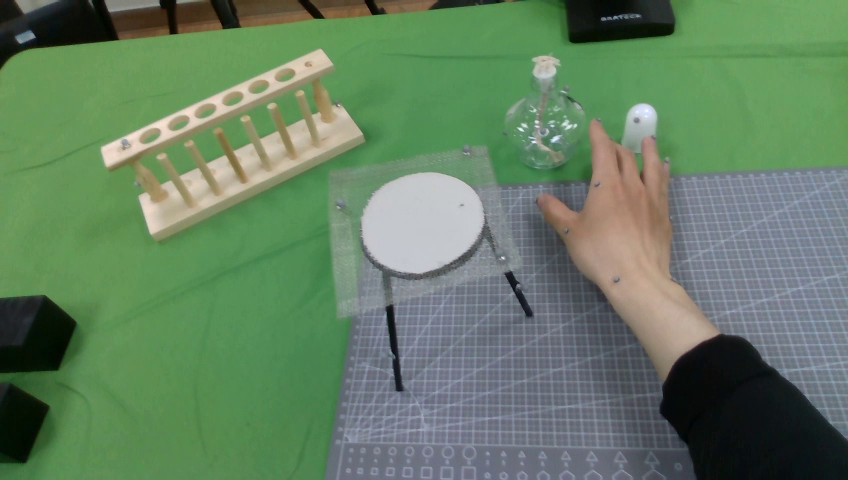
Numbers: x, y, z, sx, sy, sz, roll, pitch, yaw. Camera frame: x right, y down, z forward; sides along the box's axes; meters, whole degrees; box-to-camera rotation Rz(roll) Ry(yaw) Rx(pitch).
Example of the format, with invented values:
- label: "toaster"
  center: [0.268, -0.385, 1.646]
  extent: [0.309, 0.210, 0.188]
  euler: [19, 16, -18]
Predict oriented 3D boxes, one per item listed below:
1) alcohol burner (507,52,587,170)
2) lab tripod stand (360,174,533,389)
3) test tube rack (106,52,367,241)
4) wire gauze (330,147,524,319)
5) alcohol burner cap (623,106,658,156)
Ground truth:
- label: "alcohol burner"
  center: [0.117, -0.125, 0.578]
  extent: [0.078, 0.120, 0.077]
  euler: [-5, 50, 7]
- label: "lab tripod stand"
  center: [0.009, 0.030, 0.465]
  extent: [0.148, 0.133, 0.147]
  euler: [-5, 54, 7]
- label: "test tube rack"
  center: [-0.190, -0.099, 0.636]
  extent: [0.242, 0.086, 0.066]
  euler: [-27, 53, -10]
- label: "wire gauze"
  center: [-0.004, -0.013, 0.413]
  extent: [0.121, 0.011, 0.123]
  euler: [-12, 53, 3]
- label: "alcohol burner cap"
  center: [0.214, -0.109, 0.593]
  extent: [0.034, 0.048, 0.033]
  euler: [-6, 52, 9]
